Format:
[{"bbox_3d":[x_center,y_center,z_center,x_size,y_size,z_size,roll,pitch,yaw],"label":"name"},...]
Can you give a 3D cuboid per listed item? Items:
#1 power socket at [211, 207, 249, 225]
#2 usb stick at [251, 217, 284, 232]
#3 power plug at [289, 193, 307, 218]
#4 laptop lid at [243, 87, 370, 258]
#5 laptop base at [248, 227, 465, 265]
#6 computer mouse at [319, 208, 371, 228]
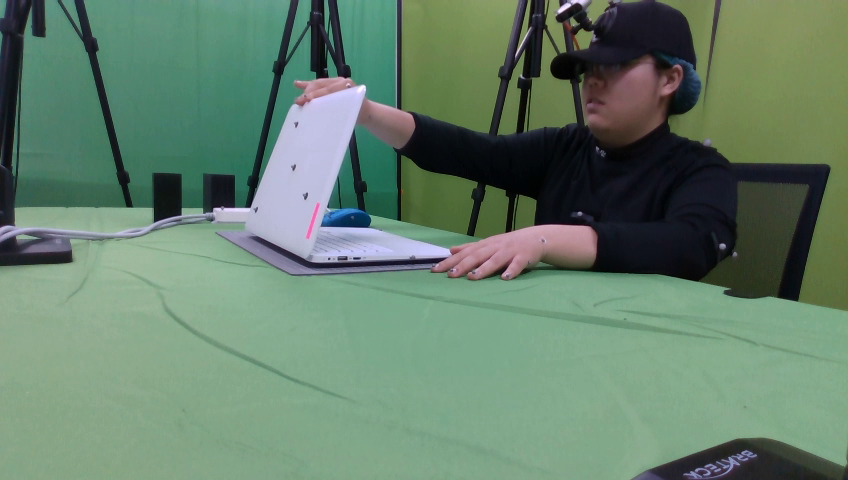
[{"bbox_3d":[-0.334,-0.051,1.282,0.228,0.032,0.072,-2,9,-28],"label":"power socket"},{"bbox_3d":[-0.290,-0.028,1.119,0.059,0.027,0.021,-3,12,-30],"label":"usb stick"},{"bbox_3d":[-0.280,-0.076,1.341,0.035,0.052,0.072,3,6,-18],"label":"power plug"},{"bbox_3d":[-0.190,-0.107,0.900,0.013,0.241,0.355,23,-2,-29],"label":"laptop lid"},{"bbox_3d":[-0.124,0.007,0.955,0.237,0.023,0.352,2,6,-30],"label":"laptop base"},{"bbox_3d":[-0.175,-0.047,1.292,0.118,0.041,0.062,-7,13,-34],"label":"computer mouse"}]
